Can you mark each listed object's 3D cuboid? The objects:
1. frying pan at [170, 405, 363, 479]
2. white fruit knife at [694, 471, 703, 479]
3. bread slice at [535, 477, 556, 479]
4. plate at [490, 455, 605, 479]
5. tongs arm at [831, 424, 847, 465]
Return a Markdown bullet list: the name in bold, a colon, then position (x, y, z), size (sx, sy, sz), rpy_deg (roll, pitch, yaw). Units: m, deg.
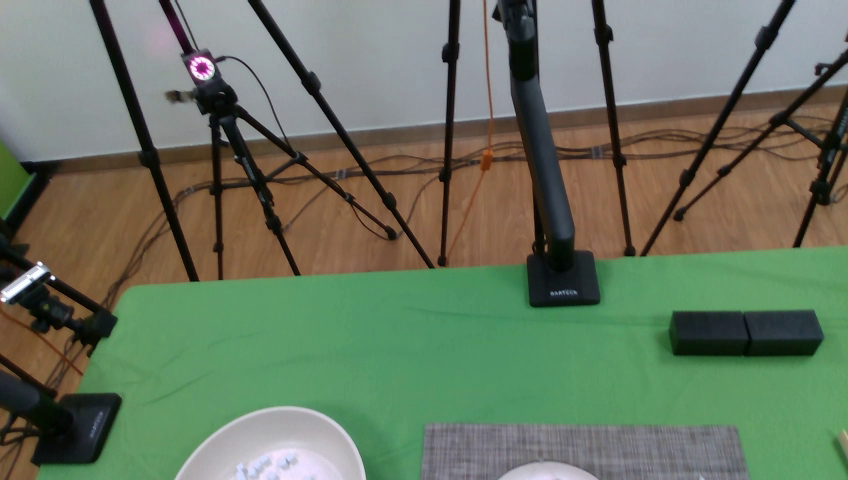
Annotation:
- **frying pan**: position (-0.225, 0.445, 0.769), size (0.306, 0.104, 0.483), rpy_deg (-6, 40, 8)
- **white fruit knife**: position (0.366, 0.390, 0.754), size (0.027, 0.016, 0.205), rpy_deg (15, 46, -13)
- **bread slice**: position (0.161, 0.381, 0.790), size (0.106, 0.018, 0.133), rpy_deg (17, 56, 24)
- **plate**: position (0.163, 0.386, 0.783), size (0.207, 0.039, 0.205), rpy_deg (-6, 48, 7)
- **tongs arm**: position (0.580, 0.396, 0.699), size (0.028, 0.028, 0.383), rpy_deg (-8, 48, 1)
